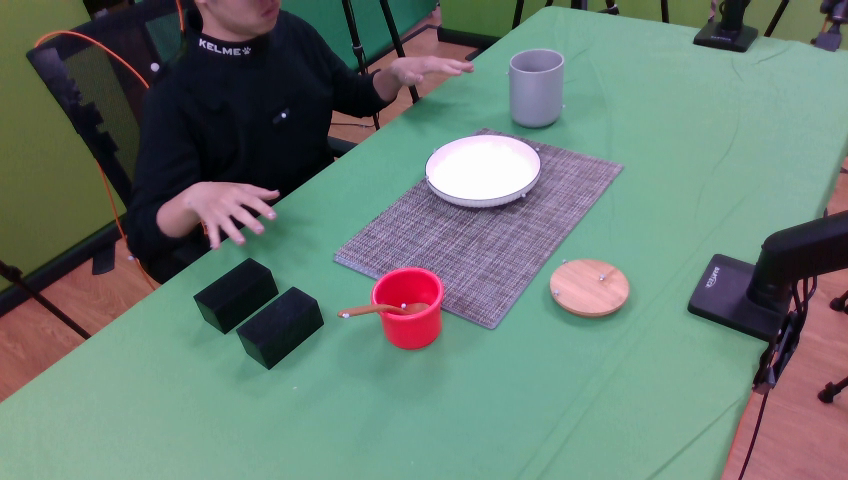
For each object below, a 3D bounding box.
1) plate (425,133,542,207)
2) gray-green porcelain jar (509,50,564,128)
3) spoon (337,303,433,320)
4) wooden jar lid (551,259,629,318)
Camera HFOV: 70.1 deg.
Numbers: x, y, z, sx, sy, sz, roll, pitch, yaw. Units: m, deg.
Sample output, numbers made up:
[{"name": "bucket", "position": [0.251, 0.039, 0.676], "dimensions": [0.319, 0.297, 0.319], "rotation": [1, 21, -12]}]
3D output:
[{"name": "plate", "position": [0.106, -0.122, 1.079], "dimensions": [0.207, 0.039, 0.206], "rotation": [-4, 41, 4]}, {"name": "gray-green porcelain jar", "position": [0.222, -0.297, 1.204], "dimensions": [0.106, 0.127, 0.105], "rotation": [-4, 41, 4]}, {"name": "spoon", "position": [-0.048, 0.091, 0.777], "dimensions": [0.041, 0.021, 0.195], "rotation": [23, 5, 32]}, {"name": "wooden jar lid", "position": [0.234, 0.070, 0.857], "dimensions": [0.108, 0.021, 0.108], "rotation": [-5, 40, 4]}]
